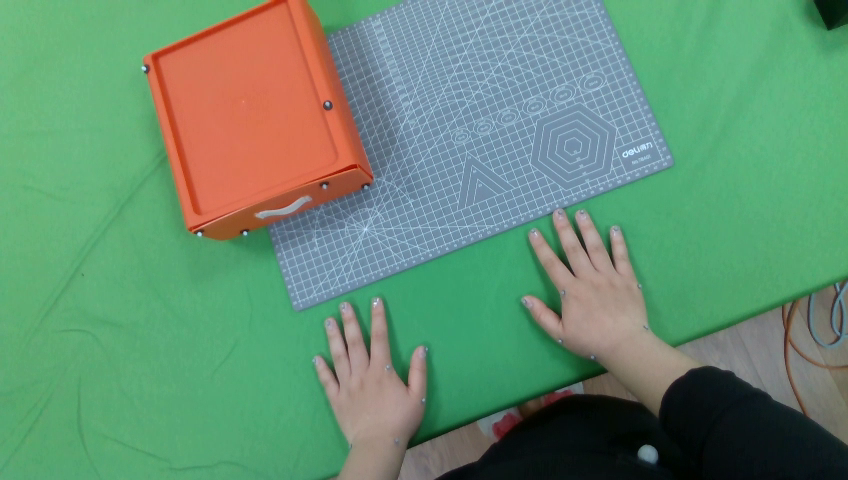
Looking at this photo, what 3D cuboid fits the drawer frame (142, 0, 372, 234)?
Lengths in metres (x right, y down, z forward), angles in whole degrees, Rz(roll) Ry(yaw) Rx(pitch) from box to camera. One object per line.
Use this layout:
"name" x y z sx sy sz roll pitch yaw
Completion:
"drawer frame" -0.189 -0.133 0.686 0.201 0.083 0.212 -21 79 7

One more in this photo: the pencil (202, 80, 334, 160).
"pencil" -0.183 -0.140 0.709 0.193 0.012 0.012 31 89 12

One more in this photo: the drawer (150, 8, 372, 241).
"drawer" -0.186 -0.128 0.686 0.194 0.073 0.210 -21 79 7
